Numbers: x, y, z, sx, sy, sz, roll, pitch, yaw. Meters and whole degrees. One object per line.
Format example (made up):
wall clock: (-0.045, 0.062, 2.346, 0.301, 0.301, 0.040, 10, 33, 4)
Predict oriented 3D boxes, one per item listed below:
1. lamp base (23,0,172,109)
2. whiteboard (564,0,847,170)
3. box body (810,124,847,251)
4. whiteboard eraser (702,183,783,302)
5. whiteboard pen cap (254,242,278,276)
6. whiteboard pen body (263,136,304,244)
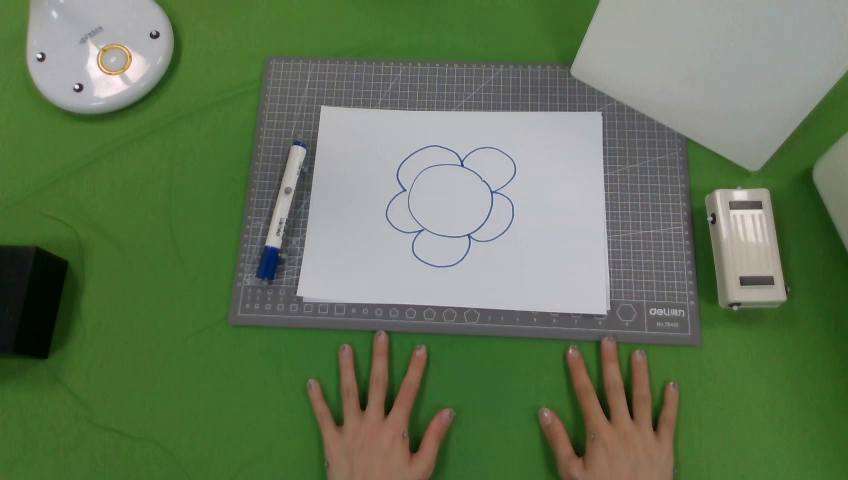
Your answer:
lamp base: (-0.373, -0.247, 0.600, 0.178, 0.181, 0.160, 35, 77, 15)
whiteboard: (0.301, -0.253, 0.544, 0.216, 0.307, 0.143, 33, 56, 12)
box body: (0.533, 0.021, 0.497, 0.254, 0.161, 0.361, -16, 73, -3)
whiteboard eraser: (0.299, 0.003, 0.574, 0.055, 0.042, 0.112, 0, 73, 1)
whiteboard pen cap: (-0.154, 0.018, 0.595, 0.018, 0.018, 0.033, 10, 76, 6)
whiteboard pen body: (-0.144, -0.038, 0.608, 0.017, 0.017, 0.140, 10, 76, 6)
